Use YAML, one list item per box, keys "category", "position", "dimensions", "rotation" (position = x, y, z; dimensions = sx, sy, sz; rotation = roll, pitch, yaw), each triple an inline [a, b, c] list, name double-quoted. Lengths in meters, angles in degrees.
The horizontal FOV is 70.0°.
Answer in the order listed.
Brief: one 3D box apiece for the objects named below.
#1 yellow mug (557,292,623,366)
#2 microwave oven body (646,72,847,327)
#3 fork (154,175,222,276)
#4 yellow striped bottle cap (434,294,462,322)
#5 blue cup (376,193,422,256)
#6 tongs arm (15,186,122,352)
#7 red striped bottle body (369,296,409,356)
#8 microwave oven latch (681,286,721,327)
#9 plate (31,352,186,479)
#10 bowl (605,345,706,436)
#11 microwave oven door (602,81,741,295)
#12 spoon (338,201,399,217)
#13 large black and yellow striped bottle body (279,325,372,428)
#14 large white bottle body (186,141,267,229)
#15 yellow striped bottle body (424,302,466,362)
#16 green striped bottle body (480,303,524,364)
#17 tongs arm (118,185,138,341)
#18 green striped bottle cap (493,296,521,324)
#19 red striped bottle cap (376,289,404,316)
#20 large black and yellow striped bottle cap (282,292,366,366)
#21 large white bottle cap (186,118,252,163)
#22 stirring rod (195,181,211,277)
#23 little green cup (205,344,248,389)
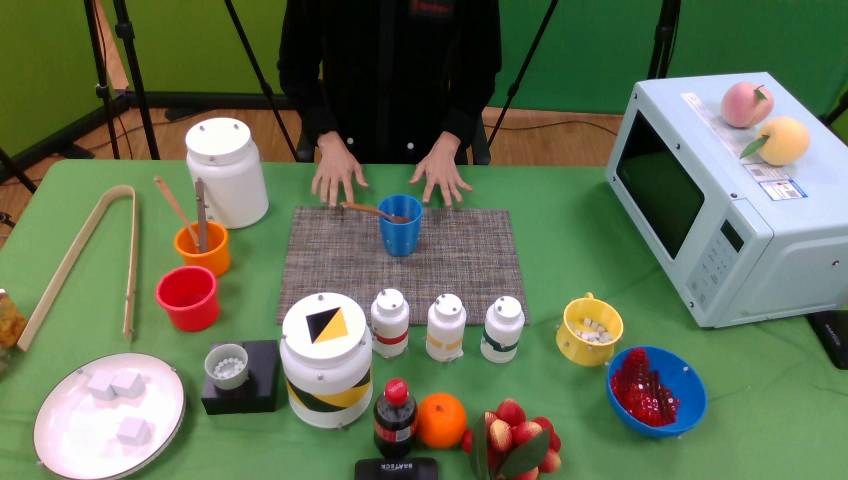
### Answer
- category: "yellow mug"
  position: [0.285, 0.145, 1.051]
  dimensions: [0.100, 0.064, 0.130]
  rotation: [7, 46, 4]
- category: "microwave oven body"
  position: [0.607, -0.089, 1.164]
  dimensions: [0.326, 0.261, 0.438]
  rotation: [-7, 46, -10]
- category: "fork"
  position: [-0.431, -0.027, 1.101]
  dimensions: [0.028, 0.018, 0.207]
  rotation: [-33, 100, -25]
- category: "yellow striped bottle cap"
  position: [0.038, 0.107, 0.958]
  dimensions: [0.044, 0.019, 0.044]
  rotation: [2, 45, -2]
- category: "blue cup"
  position: [-0.048, -0.024, 1.157]
  dimensions: [0.093, 0.101, 0.092]
  rotation: [1, 48, -1]
- category: "tongs arm"
  position: [-0.642, 0.037, 1.107]
  dimensions: [0.028, 0.028, 0.385]
  rotation: [-2, 46, 5]
- category: "red striped bottle body"
  position: [-0.059, 0.134, 0.997]
  dimensions: [0.063, 0.120, 0.062]
  rotation: [5, 48, -5]
- category: "microwave oven latch"
  position: [0.494, 0.119, 1.086]
  dimensions: [0.030, 0.029, 0.078]
  rotation: [-5, 46, -9]
- category: "plate"
  position: [-0.459, 0.262, 0.898]
  dimensions: [0.209, 0.038, 0.208]
  rotation: [2, 46, -2]
- category: "bowl"
  position: [0.351, 0.247, 0.950]
  dimensions: [0.151, 0.077, 0.150]
  rotation: [2, 46, -2]
- category: "microwave oven door"
  position: [0.456, -0.107, 1.162]
  dimensions: [0.039, 0.245, 0.353]
  rotation: [-7, 47, -11]
- category: "spoon"
  position: [-0.085, -0.048, 1.100]
  dimensions: [0.195, 0.021, 0.041]
  rotation: [21, 27, -53]
- category: "large black and yellow striped bottle body"
  position: [-0.143, 0.181, 0.900]
  dimensions: [0.131, 0.185, 0.130]
  rotation: [2, 46, -2]
- category: "large white bottle body"
  position: [-0.382, -0.127, 1.176]
  dimensions: [0.131, 0.185, 0.130]
  rotation: [2, 46, -2]
- category: "yellow striped bottle body"
  position: [0.035, 0.143, 0.995]
  dimensions: [0.063, 0.121, 0.062]
  rotation: [3, 46, -3]
- category: "green striped bottle body"
  position: [0.129, 0.147, 1.000]
  dimensions: [0.063, 0.120, 0.063]
  rotation: [2, 46, -2]
- category: "tongs arm"
  position: [-0.555, 0.028, 1.116]
  dimensions: [0.051, 0.027, 0.382]
  rotation: [-11, 47, -8]
- category: "green striped bottle cap"
  position: [0.133, 0.111, 0.962]
  dimensions: [0.044, 0.020, 0.044]
  rotation: [2, 47, -2]
- category: "red striped bottle cap"
  position: [-0.054, 0.098, 0.958]
  dimensions: [0.044, 0.018, 0.044]
  rotation: [0, 48, 1]
- category: "large black and yellow striped bottle cap"
  position: [-0.138, 0.121, 0.841]
  dimensions: [0.115, 0.019, 0.114]
  rotation: [3, 47, -3]
- category: "large white bottle cap"
  position: [-0.377, -0.185, 1.115]
  dimensions: [0.115, 0.018, 0.114]
  rotation: [2, 47, -2]
- category: "stirring rod"
  position: [-0.403, -0.020, 1.104]
  dimensions: [0.014, 0.006, 0.176]
  rotation: [-6, 89, -9]
- category: "little green cup"
  position: [-0.294, 0.191, 0.909]
  dimensions: [0.061, 0.039, 0.061]
  rotation: [1, 47, -1]
